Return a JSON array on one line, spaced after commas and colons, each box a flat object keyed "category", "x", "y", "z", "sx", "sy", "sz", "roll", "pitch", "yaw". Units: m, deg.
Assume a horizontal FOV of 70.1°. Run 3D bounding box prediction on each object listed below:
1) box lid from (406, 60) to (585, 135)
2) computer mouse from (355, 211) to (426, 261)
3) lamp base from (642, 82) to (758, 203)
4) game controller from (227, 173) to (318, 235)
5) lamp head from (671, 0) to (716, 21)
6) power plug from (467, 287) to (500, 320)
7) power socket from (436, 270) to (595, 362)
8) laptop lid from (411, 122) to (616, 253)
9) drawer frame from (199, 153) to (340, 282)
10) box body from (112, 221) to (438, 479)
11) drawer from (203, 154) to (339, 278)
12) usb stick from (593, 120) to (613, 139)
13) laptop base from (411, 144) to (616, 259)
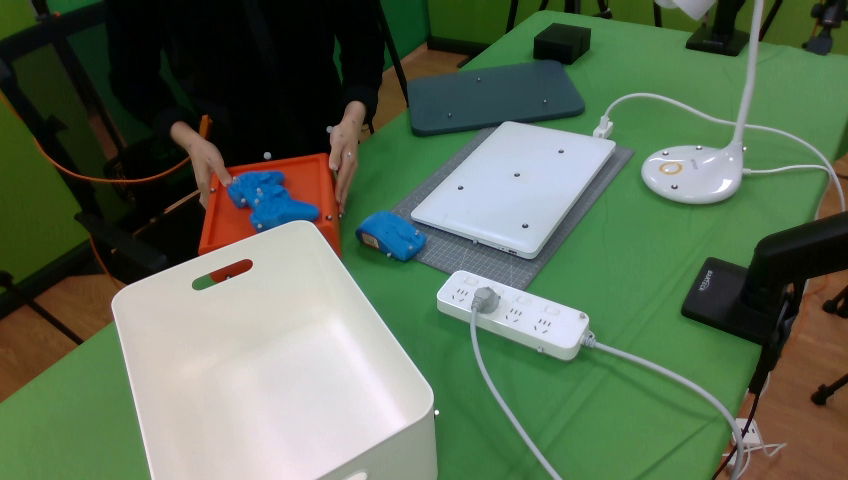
[{"category": "box lid", "x": 0.150, "y": -0.320, "z": 1.340, "sx": 0.372, "sy": 0.015, "sz": 0.261, "roll": -8, "pitch": 40, "yaw": 0}, {"category": "computer mouse", "x": -0.055, "y": -0.010, "z": 0.980, "sx": 0.116, "sy": 0.041, "sz": 0.063, "roll": 27, "pitch": 50, "yaw": 29}, {"category": "lamp base", "x": 0.464, "y": -0.174, "z": 0.992, "sx": 0.179, "sy": 0.181, "sz": 0.159, "roll": -5, "pitch": 41, "yaw": -1}, {"category": "game controller", "x": -0.239, "y": -0.063, "z": 0.932, "sx": 0.097, "sy": 0.052, "sz": 0.154, "roll": -30, "pitch": 45, "yaw": -19}, {"category": "lamp head", "x": 0.375, "y": -0.373, "z": 0.807, "sx": 0.122, "sy": 0.113, "sz": 0.112, "roll": -40, "pitch": 27, "yaw": 32}, {"category": "power plug", "x": 0.073, "y": 0.092, "z": 0.813, "sx": 0.035, "sy": 0.053, "sz": 0.073, "roll": 29, "pitch": 53, "yaw": 34}, {"category": "power socket", "x": 0.118, "y": 0.101, "z": 0.832, "sx": 0.225, "sy": 0.033, "sz": 0.072, "roll": 19, "pitch": 48, "yaw": 27}, {"category": "laptop lid", "x": 0.165, "y": -0.111, "z": 1.067, "sx": 0.240, "sy": 0.013, "sz": 0.357, "roll": 19, "pitch": 46, "yaw": 31}, {"category": "drawer frame", "x": -0.243, "y": -0.043, "z": 0.987, "sx": 0.202, "sy": 0.083, "sz": 0.212, "roll": -9, "pitch": 41, "yaw": -4}, {"category": "box body", "x": -0.170, "y": 0.168, "z": 0.693, "sx": 0.255, "sy": 0.161, "sz": 0.360, "roll": -24, "pitch": 43, "yaw": -19}, {"category": "drawer", "x": -0.244, "y": -0.044, "z": 0.990, "sx": 0.195, "sy": 0.073, "sz": 0.210, "roll": -9, "pitch": 41, "yaw": -4}, {"category": "usb stick", "x": 0.336, "y": -0.201, "z": 1.146, "sx": 0.021, "sy": 0.027, "sz": 0.059, "roll": 25, "pitch": 52, "yaw": 27}, {"category": "laptop base", "x": 0.168, "y": -0.101, "z": 1.073, "sx": 0.234, "sy": 0.023, "sz": 0.355, "roll": 17, "pitch": 46, "yaw": 31}]
